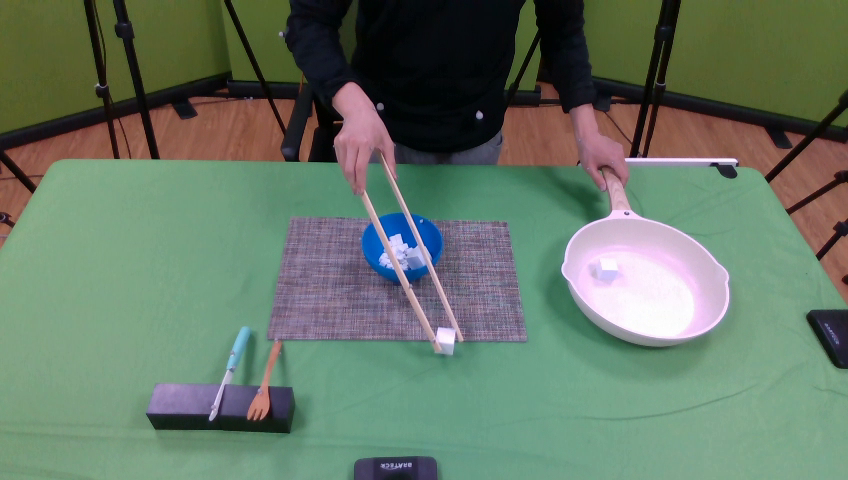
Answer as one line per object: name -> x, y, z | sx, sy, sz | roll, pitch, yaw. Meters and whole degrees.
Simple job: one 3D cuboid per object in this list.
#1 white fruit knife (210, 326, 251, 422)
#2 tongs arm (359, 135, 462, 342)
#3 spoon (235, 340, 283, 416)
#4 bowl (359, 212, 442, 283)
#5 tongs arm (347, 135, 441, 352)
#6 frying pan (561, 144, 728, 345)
white fruit knife -> -0.300, 0.201, 0.942 | 0.016, 0.027, 0.206 | -2, 32, 1
tongs arm -> -0.021, -0.007, 1.023 | 0.028, 0.028, 0.386 | -22, 83, -14
spoon -> -0.244, 0.207, 0.932 | 0.042, 0.022, 0.193 | 27, 25, -8
bowl -> -0.044, 0.026, 1.125 | 0.151, 0.077, 0.150 | 2, 46, -2
tongs arm -> -0.045, 0.002, 1.015 | 0.051, 0.026, 0.384 | -25, 84, -18
frying pan -> 0.397, -0.008, 1.179 | 0.307, 0.103, 0.485 | 2, 55, -4
